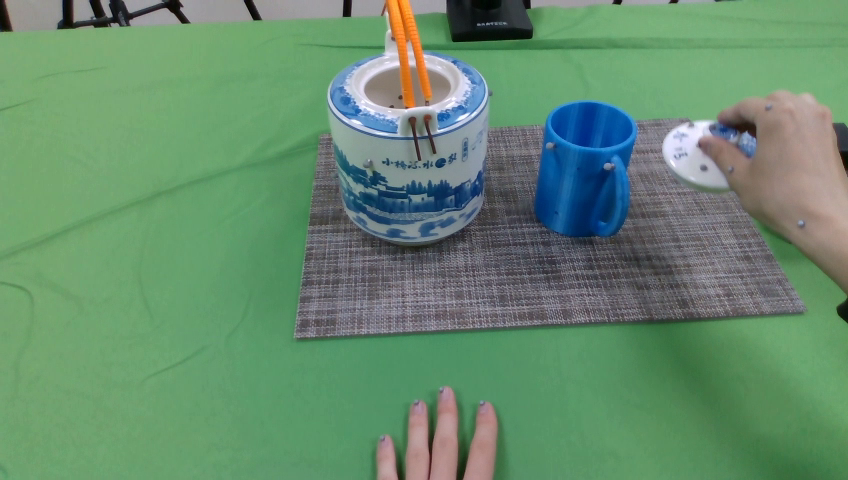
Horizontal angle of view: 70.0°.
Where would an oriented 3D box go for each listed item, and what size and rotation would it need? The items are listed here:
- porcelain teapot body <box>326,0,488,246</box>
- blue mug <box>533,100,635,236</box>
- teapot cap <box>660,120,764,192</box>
[{"bbox_3d":[-0.020,-0.132,0.573,0.145,0.227,0.203,-8,45,-6],"label":"porcelain teapot body"},{"bbox_3d":[0.158,-0.058,0.580,0.082,0.107,0.115,-15,47,-13],"label":"blue mug"},{"bbox_3d":[0.245,-0.078,0.515,0.085,0.044,0.084,-1,49,1],"label":"teapot cap"}]
